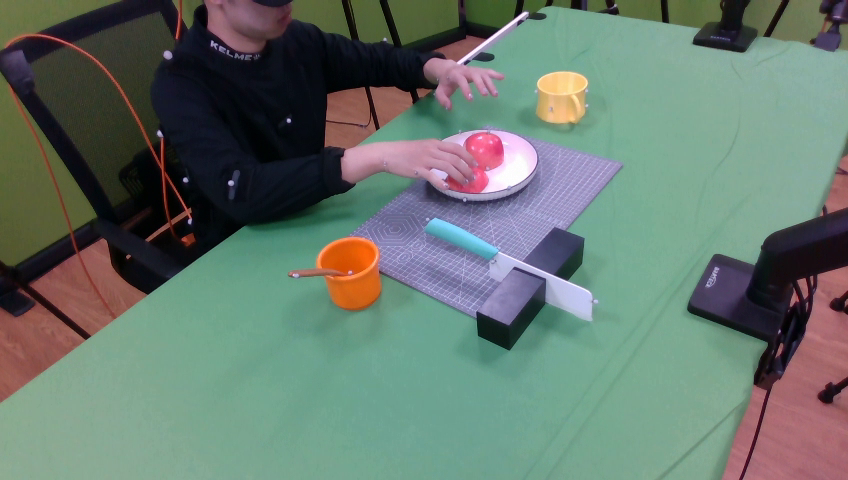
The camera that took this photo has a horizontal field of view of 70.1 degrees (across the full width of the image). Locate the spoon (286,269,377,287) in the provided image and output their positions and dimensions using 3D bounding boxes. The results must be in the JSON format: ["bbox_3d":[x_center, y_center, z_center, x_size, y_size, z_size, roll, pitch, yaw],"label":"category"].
[{"bbox_3d":[-0.125,0.049,0.831,0.041,0.195,0.021,22,92,28],"label":"spoon"}]

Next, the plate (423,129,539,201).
[{"bbox_3d":[0.103,-0.133,1.092,0.209,0.038,0.208,-4,40,4],"label":"plate"}]

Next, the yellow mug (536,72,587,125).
[{"bbox_3d":[0.284,-0.281,1.222,0.100,0.064,0.130,-15,42,-9],"label":"yellow mug"}]

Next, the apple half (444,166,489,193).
[{"bbox_3d":[0.075,-0.113,1.063,0.081,0.033,0.081,-6,39,5],"label":"apple half"}]

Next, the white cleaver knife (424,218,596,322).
[{"bbox_3d":[0.114,0.042,0.865,0.284,0.066,0.021,27,47,28],"label":"white cleaver knife"}]

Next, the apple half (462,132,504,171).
[{"bbox_3d":[0.109,-0.170,1.110,0.075,0.053,0.080,-5,40,-2],"label":"apple half"}]
